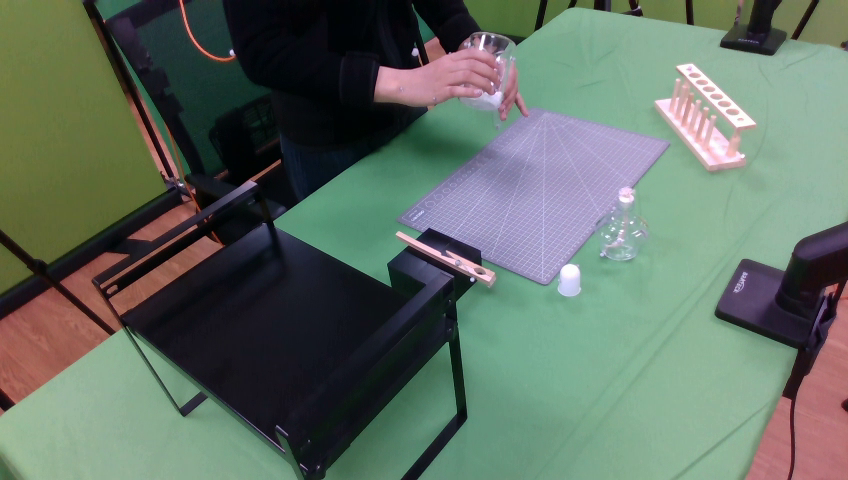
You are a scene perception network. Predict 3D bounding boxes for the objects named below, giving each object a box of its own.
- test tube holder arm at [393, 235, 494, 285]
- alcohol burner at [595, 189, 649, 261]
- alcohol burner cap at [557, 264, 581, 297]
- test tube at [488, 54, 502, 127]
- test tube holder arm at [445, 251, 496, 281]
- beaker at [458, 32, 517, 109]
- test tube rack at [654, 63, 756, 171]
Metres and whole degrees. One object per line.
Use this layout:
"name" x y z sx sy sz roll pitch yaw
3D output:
"test tube holder arm" 0.024 0.026 0.871 0.177 0.015 0.013 21 54 31
"alcohol burner" 0.294 -0.028 0.894 0.078 0.119 0.077 -4 43 5
"alcohol burner cap" 0.208 0.055 0.866 0.034 0.048 0.033 -4 42 4
"test tube" 0.123 -0.255 1.043 0.017 0.151 0.017 -5 52 7
"test tube holder arm" 0.063 0.037 0.851 0.087 0.015 0.010 23 55 32
"beaker" 0.096 -0.260 0.941 0.074 0.100 0.084 14 0 3
"test tube rack" 0.510 -0.233 1.120 0.067 0.085 0.241 -8 41 -1
